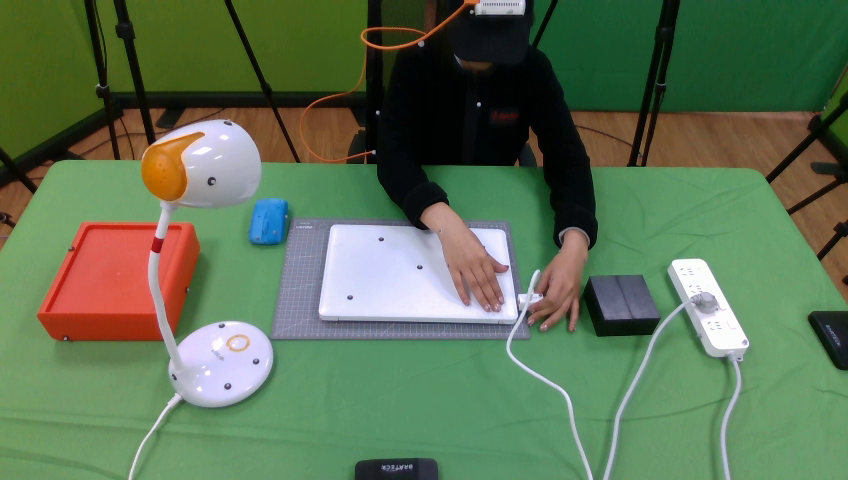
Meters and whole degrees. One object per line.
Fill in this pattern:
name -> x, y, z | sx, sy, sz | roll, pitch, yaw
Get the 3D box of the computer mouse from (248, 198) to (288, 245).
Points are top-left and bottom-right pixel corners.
computer mouse -> -0.309, -0.041, 1.205 | 0.063, 0.041, 0.116 | 3, 50, -3

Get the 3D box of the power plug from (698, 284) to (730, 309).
power plug -> 0.510, 0.096, 1.060 | 0.052, 0.073, 0.035 | -21, 61, 10

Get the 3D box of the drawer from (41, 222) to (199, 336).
drawer -> -0.519, 0.064, 1.058 | 0.195, 0.073, 0.210 | 1, 47, -4

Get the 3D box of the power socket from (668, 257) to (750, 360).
power socket -> 0.517, 0.117, 1.109 | 0.072, 0.033, 0.225 | -3, 47, -4

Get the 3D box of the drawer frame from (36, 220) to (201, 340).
drawer frame -> -0.518, 0.065, 1.055 | 0.202, 0.083, 0.212 | 0, 47, -5

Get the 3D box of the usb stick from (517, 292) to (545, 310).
usb stick -> 0.185, 0.110, 1.085 | 0.059, 0.027, 0.021 | -6, 48, -1

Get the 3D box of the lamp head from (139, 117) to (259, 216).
lamp head -> -0.281, -0.086, 0.734 | 0.112, 0.113, 0.123 | 21, 25, 16

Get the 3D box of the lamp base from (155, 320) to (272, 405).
lamp base -> -0.330, 0.149, 0.918 | 0.160, 0.181, 0.179 | 26, 52, 20

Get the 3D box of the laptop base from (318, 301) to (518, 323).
laptop base -> -0.010, 0.063, 1.137 | 0.354, 0.023, 0.234 | 1, 43, -3

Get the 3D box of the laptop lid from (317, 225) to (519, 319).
laptop lid -> -0.010, 0.053, 1.130 | 0.357, 0.013, 0.240 | 3, 43, -2
